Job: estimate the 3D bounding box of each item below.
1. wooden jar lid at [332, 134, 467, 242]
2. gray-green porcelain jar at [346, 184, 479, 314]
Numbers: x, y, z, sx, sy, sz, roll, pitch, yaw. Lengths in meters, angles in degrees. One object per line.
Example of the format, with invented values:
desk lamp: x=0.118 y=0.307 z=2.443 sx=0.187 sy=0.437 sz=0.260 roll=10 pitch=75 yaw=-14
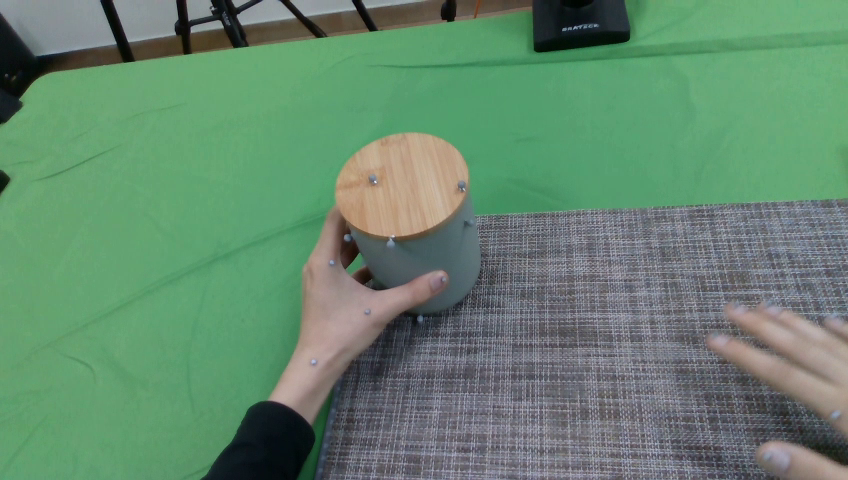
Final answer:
wooden jar lid: x=-0.019 y=-0.040 z=0.486 sx=0.108 sy=0.021 sz=0.107 roll=-4 pitch=56 yaw=6
gray-green porcelain jar: x=-0.007 y=-0.003 z=0.535 sx=0.106 sy=0.128 sz=0.105 roll=-6 pitch=52 yaw=8
